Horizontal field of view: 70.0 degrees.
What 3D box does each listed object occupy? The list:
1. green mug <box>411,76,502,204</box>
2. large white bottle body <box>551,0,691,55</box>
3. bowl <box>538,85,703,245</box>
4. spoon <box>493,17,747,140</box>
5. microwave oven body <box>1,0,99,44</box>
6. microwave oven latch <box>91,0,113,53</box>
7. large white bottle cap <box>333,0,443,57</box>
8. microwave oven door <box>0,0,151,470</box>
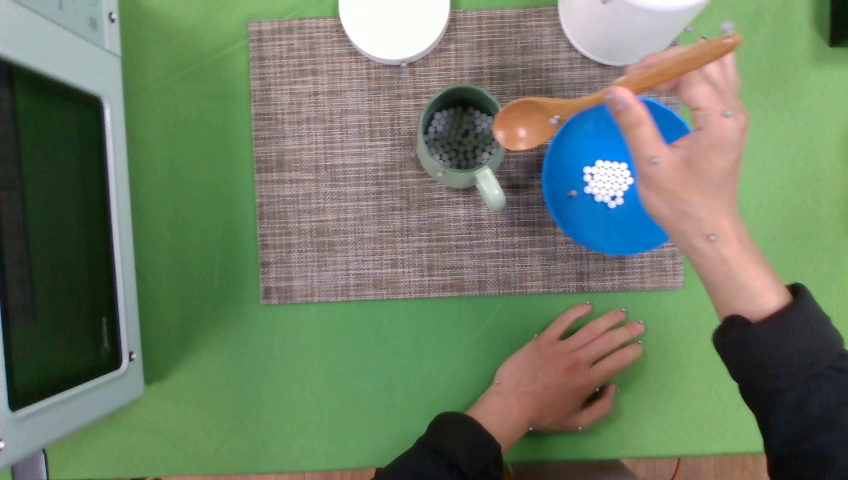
[{"bbox_3d":[0.041,-0.092,0.590,0.092,0.105,0.125,-30,91,2],"label":"green mug"},{"bbox_3d":[0.190,-0.257,0.538,0.130,0.185,0.130,0,88,2],"label":"large white bottle body"},{"bbox_3d":[0.183,-0.070,0.600,0.151,0.077,0.151,0,92,2],"label":"bowl"},{"bbox_3d":[0.121,-0.106,0.416,0.021,0.193,0.042,-48,113,-32],"label":"spoon"},{"bbox_3d":[-0.476,-0.043,0.531,0.326,0.260,0.441,-5,93,1],"label":"microwave oven body"},{"bbox_3d":[-0.338,-0.233,0.615,0.030,0.029,0.079,-4,93,1],"label":"microwave oven latch"},{"bbox_3d":[-0.037,-0.249,0.629,0.115,0.018,0.115,0,91,2],"label":"large white bottle cap"},{"bbox_3d":[-0.327,-0.012,0.523,0.039,0.244,0.356,-5,92,2],"label":"microwave oven door"}]
